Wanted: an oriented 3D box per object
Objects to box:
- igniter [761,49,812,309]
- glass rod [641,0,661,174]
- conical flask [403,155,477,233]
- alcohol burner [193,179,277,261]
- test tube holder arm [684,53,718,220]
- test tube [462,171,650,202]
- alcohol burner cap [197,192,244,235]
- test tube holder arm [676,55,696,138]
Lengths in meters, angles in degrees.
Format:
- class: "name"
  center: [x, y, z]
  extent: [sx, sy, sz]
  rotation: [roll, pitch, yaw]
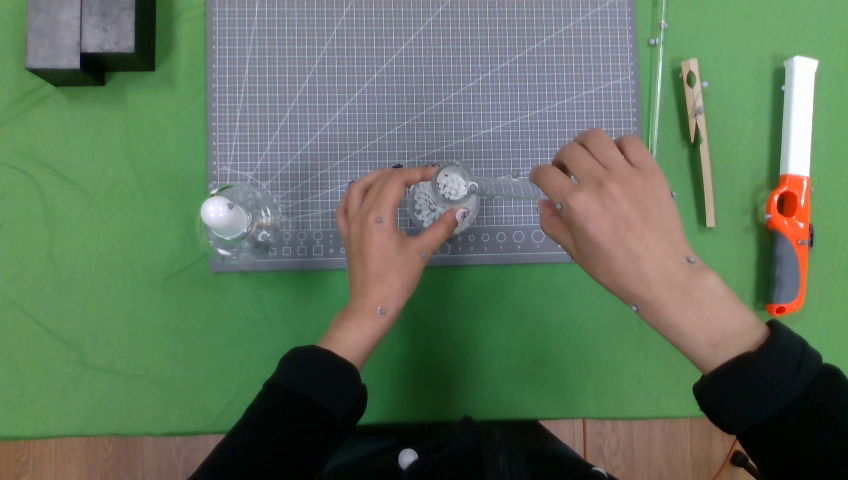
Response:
- class: "igniter"
  center: [0.385, -0.064, 0.641]
  extent: [0.057, 0.025, 0.276]
  rotation: [7, 87, -13]
- class: "glass rod"
  center: [0.243, -0.169, 0.647]
  extent: [0.008, 0.008, 0.199]
  rotation: [5, 89, -3]
- class: "conical flask"
  center: [0.019, -0.048, 0.567]
  extent: [0.075, 0.122, 0.075]
  rotation: [0, 86, -3]
- class: "alcohol burner"
  center: [-0.178, -0.021, 0.557]
  extent: [0.078, 0.119, 0.077]
  rotation: [0, 85, -1]
- class: "test tube holder arm"
  center: [0.292, -0.109, 0.640]
  extent: [0.013, 0.015, 0.178]
  rotation: [-11, 87, 33]
- class: "test tube"
  center: [0.106, -0.044, 0.490]
  extent: [0.150, 0.017, 0.017]
  rotation: [4, 86, 3]
- class: "alcohol burner cap"
  center: [-0.177, -0.025, 0.521]
  extent: [0.034, 0.048, 0.033]
  rotation: [1, 78, -3]
- class: "test tube holder arm"
  center: [0.280, -0.152, 0.645]
  extent: [0.010, 0.015, 0.087]
  rotation: [-10, 87, 33]
